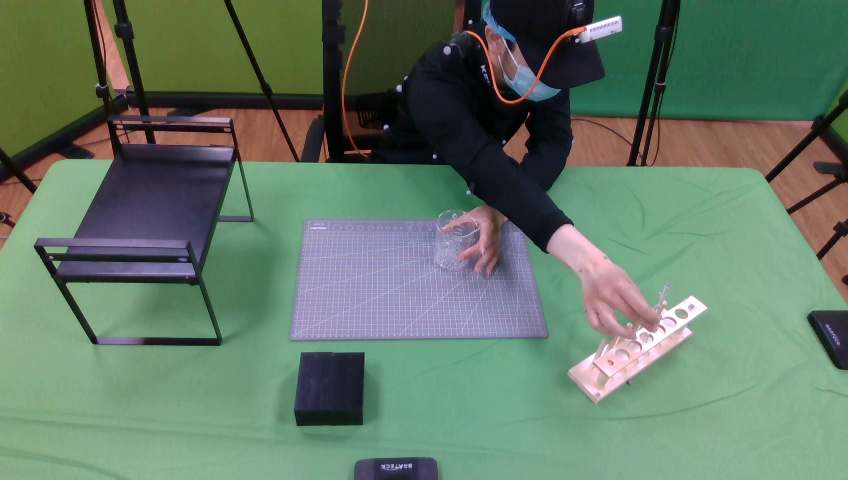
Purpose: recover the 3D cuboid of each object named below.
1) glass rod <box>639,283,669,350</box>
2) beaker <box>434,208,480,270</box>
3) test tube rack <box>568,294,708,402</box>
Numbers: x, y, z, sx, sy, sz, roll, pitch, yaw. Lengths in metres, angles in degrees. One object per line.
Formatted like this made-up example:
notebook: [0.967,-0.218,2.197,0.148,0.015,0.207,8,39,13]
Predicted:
glass rod: [0.355,0.127,0.942,0.008,0.201,0.008,-2,50,3]
beaker: [0.059,0.001,1.139,0.084,0.101,0.073,7,47,3]
test tube rack: [0.360,0.167,1.015,0.242,0.085,0.066,-25,52,-25]
